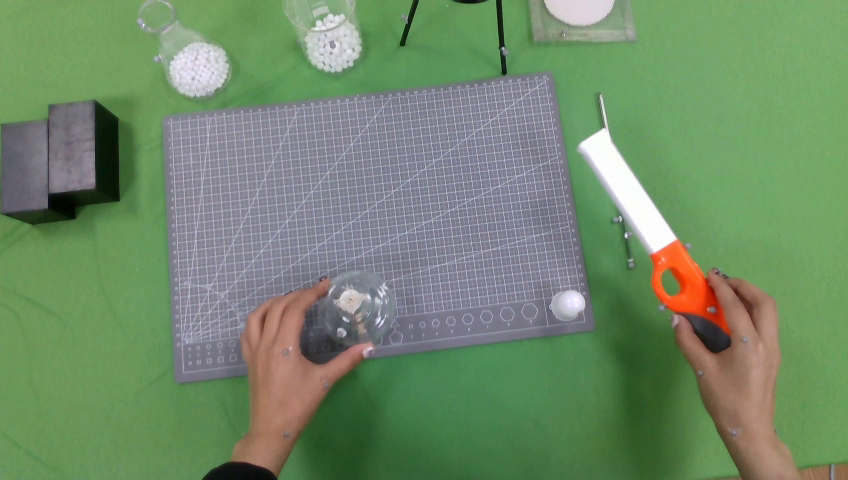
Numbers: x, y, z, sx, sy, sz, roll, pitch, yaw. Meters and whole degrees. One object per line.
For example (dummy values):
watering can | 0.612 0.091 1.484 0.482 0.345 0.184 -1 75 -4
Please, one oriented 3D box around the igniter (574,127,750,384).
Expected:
igniter | 0.232 0.014 0.589 0.057 0.025 0.276 -31 86 -4

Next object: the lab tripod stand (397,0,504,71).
lab tripod stand | 0.039 -0.259 0.650 0.148 0.132 0.148 0 81 1

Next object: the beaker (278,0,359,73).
beaker | -0.108 -0.237 0.664 0.084 0.100 0.073 -33 81 -6

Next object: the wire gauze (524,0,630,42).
wire gauze | 0.180 -0.292 0.720 0.125 0.011 0.121 -2 81 -2

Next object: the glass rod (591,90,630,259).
glass rod | 0.209 -0.076 0.681 0.008 0.008 0.199 -8 80 -2

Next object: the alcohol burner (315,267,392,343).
alcohol burner | -0.071 0.062 0.600 0.078 0.119 0.077 0 77 -1

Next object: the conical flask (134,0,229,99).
conical flask | -0.263 -0.208 0.647 0.075 0.122 0.075 0 79 0

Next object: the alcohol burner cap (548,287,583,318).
alcohol burner cap | 0.151 0.064 0.635 0.034 0.048 0.033 0 79 0
